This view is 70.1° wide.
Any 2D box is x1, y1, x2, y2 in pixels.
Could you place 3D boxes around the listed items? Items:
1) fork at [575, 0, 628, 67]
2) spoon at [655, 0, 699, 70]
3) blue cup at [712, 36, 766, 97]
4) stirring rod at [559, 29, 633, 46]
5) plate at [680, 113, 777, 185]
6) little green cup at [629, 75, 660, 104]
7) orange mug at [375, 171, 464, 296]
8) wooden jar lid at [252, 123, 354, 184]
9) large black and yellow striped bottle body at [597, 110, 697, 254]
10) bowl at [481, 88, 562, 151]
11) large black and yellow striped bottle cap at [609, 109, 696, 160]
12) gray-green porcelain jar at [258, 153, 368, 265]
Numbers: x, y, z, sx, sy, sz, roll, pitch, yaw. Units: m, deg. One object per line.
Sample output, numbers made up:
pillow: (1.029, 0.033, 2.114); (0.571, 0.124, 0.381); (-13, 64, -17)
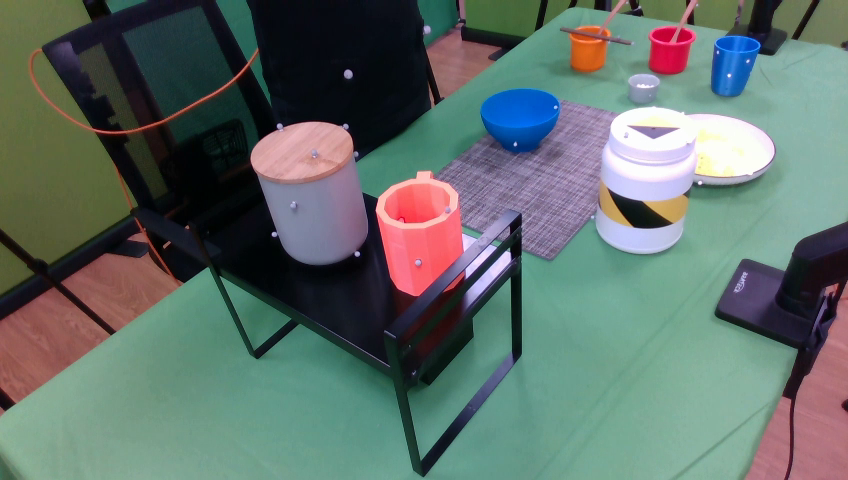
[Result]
fork: (0.413, -0.481, 1.377); (0.207, 0.019, 0.028); (-56, 43, 12)
spoon: (0.567, -0.463, 1.338); (0.041, 0.022, 0.193); (30, 97, 38)
blue cup: (0.627, -0.350, 1.227); (0.092, 0.100, 0.092); (-4, 39, 4)
stirring rod: (0.380, -0.452, 1.344); (0.174, 0.006, 0.014); (25, 49, 33)
plate: (0.506, -0.158, 1.073); (0.209, 0.038, 0.208); (-5, 40, 4)
little green cup: (0.457, -0.313, 1.260); (0.061, 0.039, 0.061); (-4, 40, 4)
orange mug: (-0.001, -0.016, 0.662); (0.083, 0.101, 0.125); (-2, 45, 8)
wooden jar lid: (-0.129, -0.090, 0.652); (0.108, 0.021, 0.108); (-3, 41, 3)
large black and yellow striped bottle body: (0.331, -0.086, 0.903); (0.131, 0.185, 0.130); (-5, 41, 4)
bowl: (0.187, -0.223, 1.161); (0.151, 0.077, 0.150); (-4, 40, 4)
large black and yellow striped bottle cap: (0.319, -0.150, 0.849); (0.115, 0.019, 0.114); (-4, 40, 3)
gray-green porcelain jar: (-0.122, -0.043, 0.691); (0.106, 0.127, 0.105); (-4, 40, 4)
